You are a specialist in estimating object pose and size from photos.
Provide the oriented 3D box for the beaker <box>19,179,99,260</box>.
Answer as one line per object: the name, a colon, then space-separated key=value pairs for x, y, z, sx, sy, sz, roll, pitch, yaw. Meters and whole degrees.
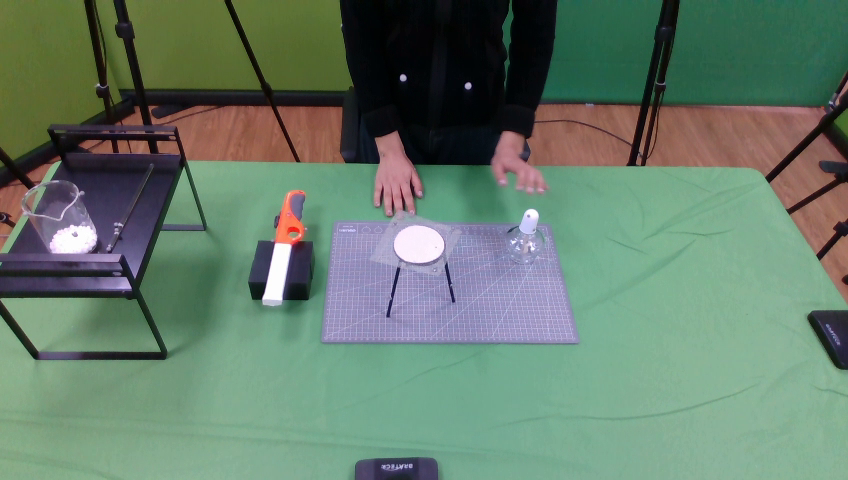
beaker: x=-0.522 y=-0.024 z=0.877 sx=0.074 sy=0.101 sz=0.083 roll=-26 pitch=54 yaw=-25

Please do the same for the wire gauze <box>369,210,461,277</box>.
wire gauze: x=-0.013 y=0.005 z=1.017 sx=0.121 sy=0.011 sz=0.124 roll=17 pitch=49 yaw=12

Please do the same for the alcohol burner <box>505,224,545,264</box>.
alcohol burner: x=0.195 y=-0.013 z=1.158 sx=0.078 sy=0.120 sz=0.077 roll=1 pitch=44 yaw=-1

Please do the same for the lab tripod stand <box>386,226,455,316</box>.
lab tripod stand: x=-0.013 y=0.054 z=1.064 sx=0.148 sy=0.132 sz=0.147 roll=2 pitch=48 yaw=-2

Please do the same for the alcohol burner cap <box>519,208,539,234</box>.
alcohol burner cap: x=0.199 y=-0.037 z=1.132 sx=0.034 sy=0.048 sz=0.033 roll=4 pitch=44 yaw=-4

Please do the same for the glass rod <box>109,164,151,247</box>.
glass rod: x=-0.473 y=-0.061 z=0.979 sx=0.008 sy=0.008 sz=0.198 roll=1 pitch=46 yaw=-3

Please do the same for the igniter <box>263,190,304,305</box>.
igniter: x=-0.255 y=0.004 z=1.107 sx=0.057 sy=0.025 sz=0.274 roll=6 pitch=47 yaw=-7
